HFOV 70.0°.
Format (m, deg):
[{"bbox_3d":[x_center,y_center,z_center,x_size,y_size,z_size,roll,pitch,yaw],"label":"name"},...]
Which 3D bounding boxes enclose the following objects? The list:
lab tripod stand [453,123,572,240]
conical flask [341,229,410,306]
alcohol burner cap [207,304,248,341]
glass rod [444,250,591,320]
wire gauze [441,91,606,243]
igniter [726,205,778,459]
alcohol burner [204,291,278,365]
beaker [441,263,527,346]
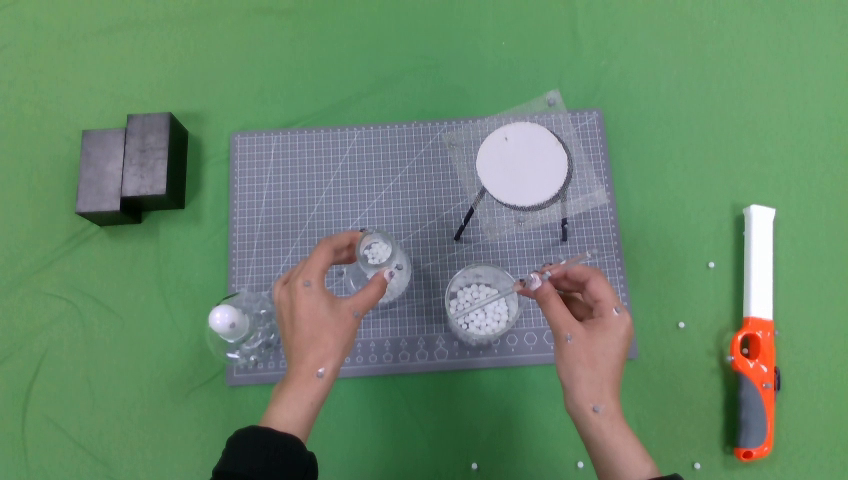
[{"bbox_3d":[0.096,-0.051,0.642,0.148,0.132,0.147,0,77,2],"label":"lab tripod stand"},{"bbox_3d":[-0.049,0.022,0.607,0.075,0.122,0.075,1,77,-4],"label":"conical flask"},{"bbox_3d":[-0.191,0.077,0.586,0.034,0.048,0.033,1,72,-4],"label":"alcohol burner cap"},{"bbox_3d":[0.077,0.045,0.557,0.008,0.199,0.008,16,60,-30],"label":"glass rod"},{"bbox_3d":[0.093,-0.070,0.577,0.125,0.011,0.121,-20,77,-3],"label":"wire gauze"},{"bbox_3d":[0.356,0.095,0.657,0.057,0.025,0.275,11,76,-7],"label":"igniter"},{"bbox_3d":[-0.191,0.088,0.620,0.078,0.119,0.077,0,76,0],"label":"alcohol burner"},{"bbox_3d":[0.059,0.070,0.629,0.084,0.101,0.073,-6,75,-1],"label":"beaker"}]
